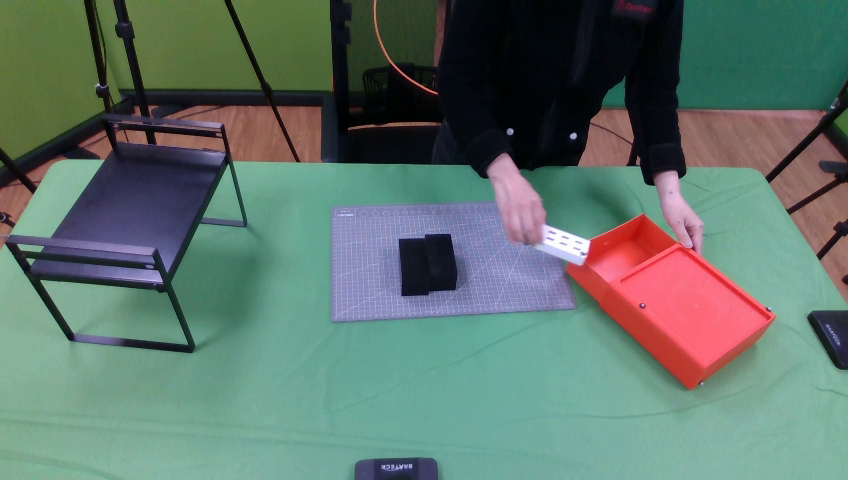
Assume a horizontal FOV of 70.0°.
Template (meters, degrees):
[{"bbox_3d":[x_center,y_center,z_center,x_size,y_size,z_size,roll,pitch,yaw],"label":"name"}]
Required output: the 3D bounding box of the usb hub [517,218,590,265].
[{"bbox_3d":[0.234,0.002,1.091,0.125,0.025,0.049,21,45,8],"label":"usb hub"}]

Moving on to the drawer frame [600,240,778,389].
[{"bbox_3d":[0.460,0.122,1.068,0.202,0.083,0.212,-25,53,-25],"label":"drawer frame"}]

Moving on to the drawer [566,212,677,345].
[{"bbox_3d":[0.408,0.066,1.124,0.194,0.073,0.210,-23,53,-24],"label":"drawer"}]
